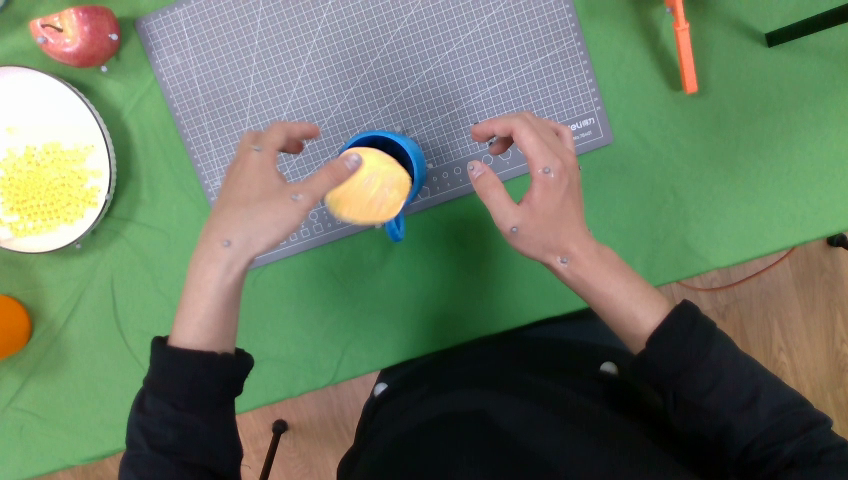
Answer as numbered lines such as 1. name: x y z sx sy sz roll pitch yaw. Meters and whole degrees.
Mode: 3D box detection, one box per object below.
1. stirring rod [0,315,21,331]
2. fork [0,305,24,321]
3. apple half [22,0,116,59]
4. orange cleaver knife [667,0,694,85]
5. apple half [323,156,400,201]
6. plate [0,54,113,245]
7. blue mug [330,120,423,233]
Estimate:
1. stirring rod: -0.552 0.118 0.675 0.176 0.006 0.014 -18 90 -34
2. fork: -0.566 0.102 0.670 0.208 0.018 0.028 -10 102 -39
3. apple half: -0.363 -0.218 0.633 0.081 0.074 0.053 -15 104 2
4. orange cleaver knife: 0.238 -0.254 0.587 0.012 0.076 0.213 -16 126 15
5. apple half: -0.062 -0.055 0.587 0.081 0.081 0.033 15 111 1
6. plate: -0.447 -0.099 0.679 0.209 0.038 0.210 1 102 4
7. blue mug: -0.043 -0.065 0.627 0.082 0.105 0.117 -10 100 6
